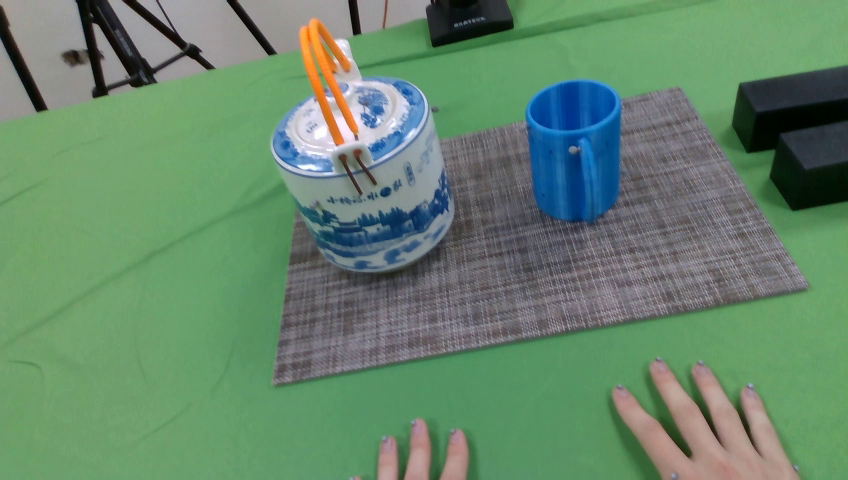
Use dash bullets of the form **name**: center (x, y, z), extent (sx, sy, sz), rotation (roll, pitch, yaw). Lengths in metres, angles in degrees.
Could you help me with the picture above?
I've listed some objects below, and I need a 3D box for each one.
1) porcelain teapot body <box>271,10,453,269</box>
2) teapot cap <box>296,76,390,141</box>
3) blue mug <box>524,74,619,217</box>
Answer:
- **porcelain teapot body**: center (-0.066, -0.108, 0.564), extent (0.145, 0.228, 0.203), rotation (-17, 45, 1)
- **teapot cap**: center (-0.070, -0.116, 0.517), extent (0.085, 0.044, 0.084), rotation (-6, 45, 7)
- **blue mug**: center (0.141, -0.077, 0.558), extent (0.082, 0.107, 0.115), rotation (-11, 46, 6)
